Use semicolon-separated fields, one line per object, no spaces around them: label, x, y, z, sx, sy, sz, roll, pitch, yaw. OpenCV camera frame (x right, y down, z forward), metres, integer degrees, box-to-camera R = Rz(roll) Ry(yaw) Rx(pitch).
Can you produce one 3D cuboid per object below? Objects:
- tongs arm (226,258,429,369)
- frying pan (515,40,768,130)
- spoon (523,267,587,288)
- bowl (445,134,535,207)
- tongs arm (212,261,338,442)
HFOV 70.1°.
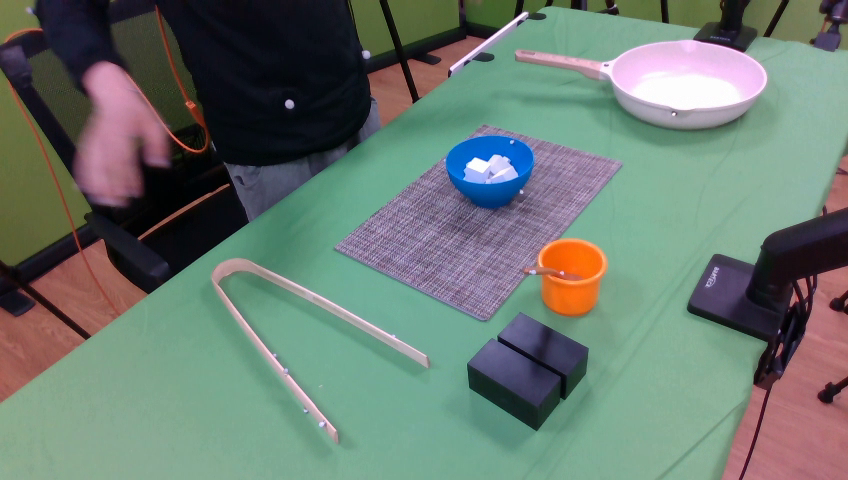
tongs arm;-0.150;0.098;0.873;0.384;0.028;0.028;22;50;30
frying pan;0.423;-0.337;1.236;0.486;0.103;0.307;16;44;13
spoon;0.170;0.046;0.793;0.041;0.195;0.021;20;91;33
bowl;0.113;-0.109;1.029;0.151;0.077;0.150;-4;40;4
tongs arm;-0.208;0.136;0.830;0.051;0.026;0.381;-31;45;-28
